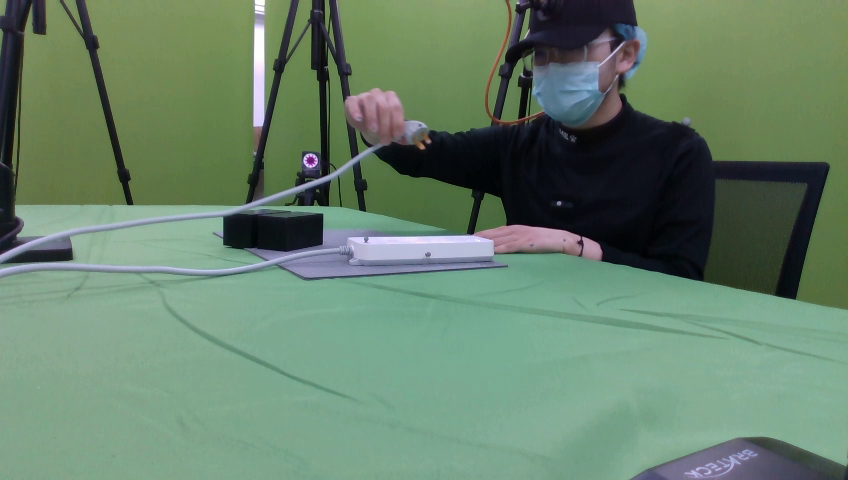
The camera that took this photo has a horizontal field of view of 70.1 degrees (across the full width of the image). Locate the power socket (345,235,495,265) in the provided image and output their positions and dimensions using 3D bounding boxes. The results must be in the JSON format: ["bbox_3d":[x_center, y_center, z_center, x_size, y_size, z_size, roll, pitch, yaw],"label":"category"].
[{"bbox_3d":[-0.003,0.012,0.851,0.228,0.032,0.072,-2,7,-25],"label":"power socket"}]

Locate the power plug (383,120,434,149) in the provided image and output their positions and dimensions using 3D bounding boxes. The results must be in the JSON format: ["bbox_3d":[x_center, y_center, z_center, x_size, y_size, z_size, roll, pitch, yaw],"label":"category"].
[{"bbox_3d":[-0.018,-0.148,0.904,0.035,0.072,0.052,3,49,-56],"label":"power plug"}]
